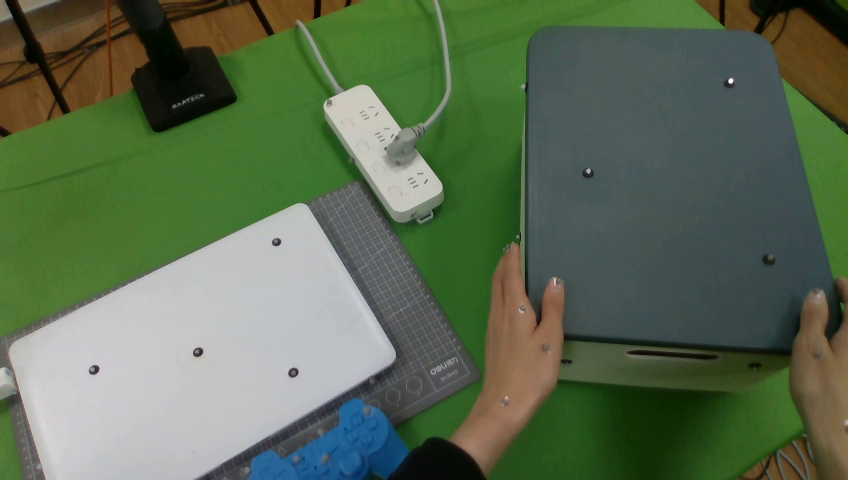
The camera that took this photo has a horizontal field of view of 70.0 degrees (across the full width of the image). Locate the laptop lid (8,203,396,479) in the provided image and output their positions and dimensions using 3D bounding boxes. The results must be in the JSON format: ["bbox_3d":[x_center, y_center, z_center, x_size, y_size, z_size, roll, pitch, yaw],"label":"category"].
[{"bbox_3d":[-0.235,0.119,0.641,0.357,0.013,0.239,-27,66,-13],"label":"laptop lid"}]

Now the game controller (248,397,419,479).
[{"bbox_3d":[-0.091,0.219,0.577,0.155,0.052,0.096,-28,61,-14],"label":"game controller"}]

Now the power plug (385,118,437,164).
[{"bbox_3d":[-0.013,-0.115,0.748,0.072,0.053,0.035,-17,60,-10],"label":"power plug"}]

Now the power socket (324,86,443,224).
[{"bbox_3d":[-0.055,-0.114,0.775,0.072,0.033,0.224,-27,63,-15],"label":"power socket"}]

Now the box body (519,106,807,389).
[{"bbox_3d":[0.231,-0.035,0.648,0.254,0.162,0.361,3,60,3],"label":"box body"}]

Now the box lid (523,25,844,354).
[{"bbox_3d":[0.229,-0.074,0.585,0.263,0.015,0.368,3,61,3],"label":"box lid"}]

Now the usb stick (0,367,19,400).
[{"bbox_3d":[-0.442,0.151,0.627,0.059,0.027,0.021,-24,57,-15],"label":"usb stick"}]

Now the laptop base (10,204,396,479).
[{"bbox_3d":[-0.236,0.123,0.652,0.354,0.023,0.233,-29,67,-14],"label":"laptop base"}]
